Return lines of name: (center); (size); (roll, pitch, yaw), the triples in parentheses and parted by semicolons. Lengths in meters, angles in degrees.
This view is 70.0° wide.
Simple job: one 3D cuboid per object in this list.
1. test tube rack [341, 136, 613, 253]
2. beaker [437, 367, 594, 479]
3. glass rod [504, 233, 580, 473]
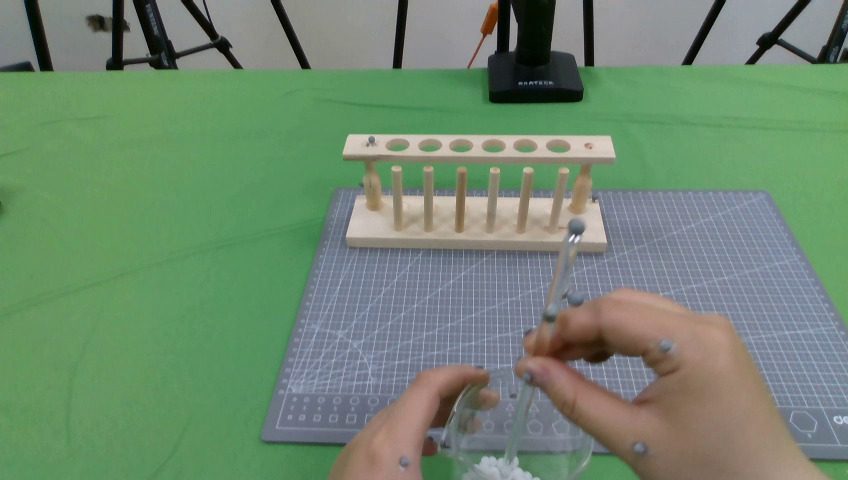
test tube rack: (0.047, -0.043, 0.565); (0.242, 0.086, 0.066); (1, 42, 4)
beaker: (0.047, 0.135, 0.350); (0.084, 0.101, 0.073); (-8, 41, -12)
glass rod: (0.052, 0.068, 0.289); (0.008, 0.201, 0.008); (1, 46, 0)
